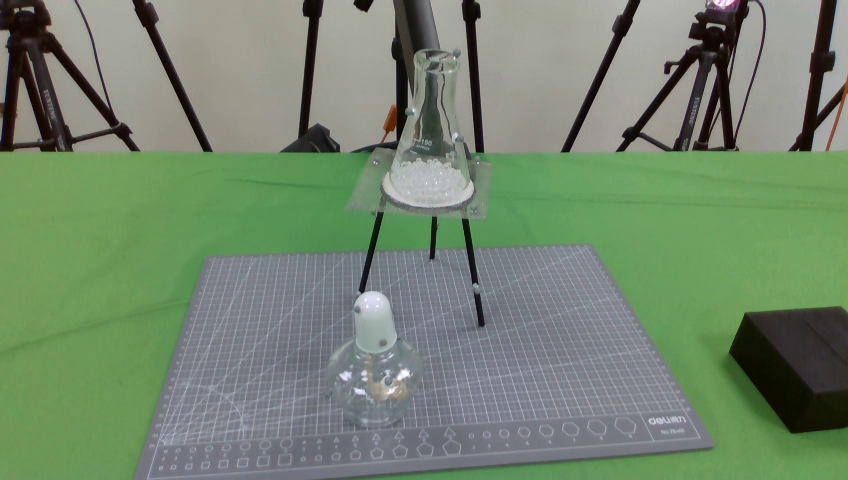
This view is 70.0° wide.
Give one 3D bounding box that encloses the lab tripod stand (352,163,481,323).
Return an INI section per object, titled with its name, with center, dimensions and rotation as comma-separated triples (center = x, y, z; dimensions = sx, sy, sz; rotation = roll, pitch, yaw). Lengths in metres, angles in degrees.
[lab tripod stand]
center = 0.002, 0.002, 0.598
dimensions = 0.148, 0.132, 0.147
rotation = 4, 33, -2

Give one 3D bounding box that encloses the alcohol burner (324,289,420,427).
[alcohol burner]
center = -0.041, 0.090, 0.480
dimensions = 0.078, 0.120, 0.077
rotation = 2, 32, -1

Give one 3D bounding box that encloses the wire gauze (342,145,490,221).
[wire gauze]
center = -0.002, -0.053, 0.561
dimensions = 0.121, 0.011, 0.124
rotation = 6, 36, 5

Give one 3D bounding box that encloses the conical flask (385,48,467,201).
[conical flask]
center = 0.005, -0.101, 0.525
dimensions = 0.075, 0.123, 0.074
rotation = 3, 34, -1

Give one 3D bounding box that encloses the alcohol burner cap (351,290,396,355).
[alcohol burner cap]
center = -0.039, 0.060, 0.459
dimensions = 0.034, 0.048, 0.033
rotation = -3, 37, 2
